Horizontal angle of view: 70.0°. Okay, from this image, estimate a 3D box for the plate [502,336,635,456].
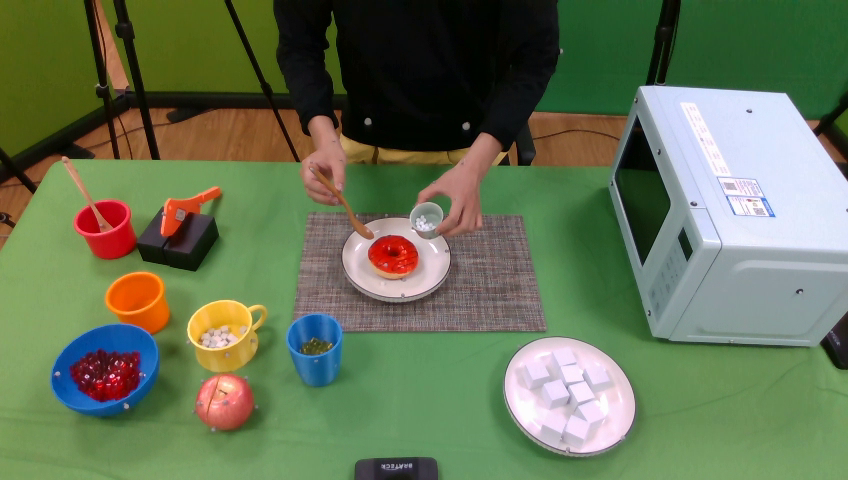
[{"bbox_3d":[0.225,0.248,0.963,0.208,0.039,0.206,2,46,-2],"label":"plate"}]

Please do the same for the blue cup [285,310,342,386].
[{"bbox_3d":[-0.170,0.179,0.958,0.093,0.101,0.092,2,44,-1],"label":"blue cup"}]

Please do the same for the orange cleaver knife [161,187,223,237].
[{"bbox_3d":[-0.448,-0.058,1.180,0.012,0.077,0.211,13,17,6],"label":"orange cleaver knife"}]

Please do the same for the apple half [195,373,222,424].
[{"bbox_3d":[-0.322,0.239,0.907,0.033,0.081,0.081,6,46,0],"label":"apple half"}]

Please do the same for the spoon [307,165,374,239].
[{"bbox_3d":[-0.142,-0.064,1.046,0.021,0.195,0.041,-29,41,6],"label":"spoon"}]

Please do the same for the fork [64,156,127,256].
[{"bbox_3d":[-0.614,-0.064,1.129,0.028,0.018,0.207,-30,96,-16],"label":"fork"}]

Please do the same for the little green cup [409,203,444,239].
[{"bbox_3d":[0.007,-0.032,1.083,0.061,0.039,0.061,-4,66,10],"label":"little green cup"}]

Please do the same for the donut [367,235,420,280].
[{"bbox_3d":[-0.056,0.032,1.131,0.099,0.048,0.098,4,45,-3],"label":"donut"}]

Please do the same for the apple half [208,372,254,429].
[{"bbox_3d":[-0.283,0.244,0.908,0.053,0.075,0.080,7,42,-1],"label":"apple half"}]

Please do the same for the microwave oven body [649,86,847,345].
[{"bbox_3d":[0.568,-0.053,1.118,0.326,0.261,0.439,2,45,-1],"label":"microwave oven body"}]

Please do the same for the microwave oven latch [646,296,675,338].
[{"bbox_3d":[0.412,0.134,1.061,0.030,0.029,0.078,4,45,1],"label":"microwave oven latch"}]

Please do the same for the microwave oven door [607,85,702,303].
[{"bbox_3d":[0.423,-0.094,1.141,0.039,0.245,0.353,2,46,-1],"label":"microwave oven door"}]

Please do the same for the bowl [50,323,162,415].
[{"bbox_3d":[-0.472,0.209,0.924,0.151,0.077,0.150,3,45,-2],"label":"bowl"}]

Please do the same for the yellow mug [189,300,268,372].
[{"bbox_3d":[-0.316,0.148,1.002,0.131,0.064,0.099,-33,56,-31],"label":"yellow mug"}]

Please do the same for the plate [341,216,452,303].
[{"bbox_3d":[-0.052,0.039,1.140,0.209,0.038,0.208,2,46,-2],"label":"plate"}]
